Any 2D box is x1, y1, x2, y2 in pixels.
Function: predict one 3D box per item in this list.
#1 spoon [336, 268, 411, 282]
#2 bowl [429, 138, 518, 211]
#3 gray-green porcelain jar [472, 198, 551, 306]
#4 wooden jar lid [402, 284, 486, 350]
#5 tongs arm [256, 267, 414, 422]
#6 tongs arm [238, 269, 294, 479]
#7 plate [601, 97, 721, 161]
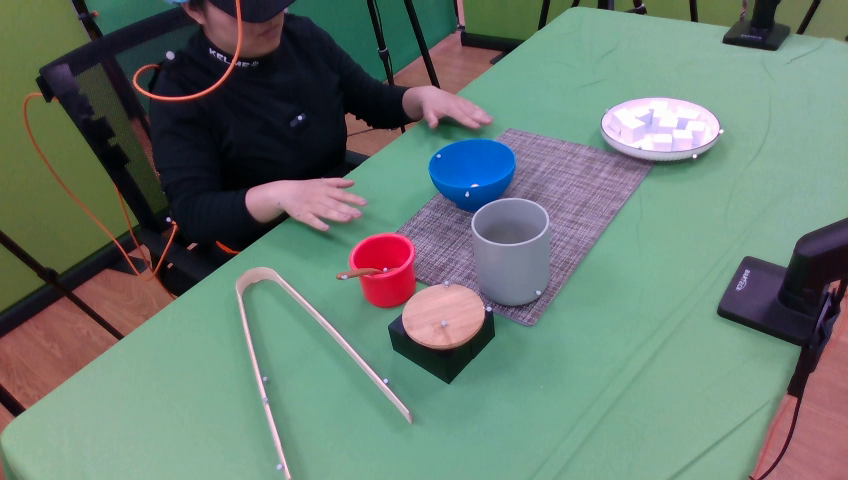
[{"bbox_3d":[-0.071,0.047,0.850,0.041,0.195,0.021,18,93,24],"label":"spoon"},{"bbox_3d":[0.087,-0.104,1.043,0.151,0.077,0.150,-5,40,5],"label":"bowl"},{"bbox_3d":[0.125,0.021,0.850,0.106,0.127,0.105,-6,40,5],"label":"gray-green porcelain jar"},{"bbox_3d":[0.026,0.101,0.786,0.108,0.021,0.108,-5,39,4],"label":"wooden jar lid"},{"bbox_3d":[-0.137,0.132,0.853,0.028,0.028,0.384,-34,45,-23],"label":"tongs arm"},{"bbox_3d":[-0.208,0.163,0.824,0.051,0.026,0.381,-22,40,-15],"label":"tongs arm"},{"bbox_3d":[0.436,-0.203,1.126,0.209,0.038,0.208,-5,39,4],"label":"plate"}]
